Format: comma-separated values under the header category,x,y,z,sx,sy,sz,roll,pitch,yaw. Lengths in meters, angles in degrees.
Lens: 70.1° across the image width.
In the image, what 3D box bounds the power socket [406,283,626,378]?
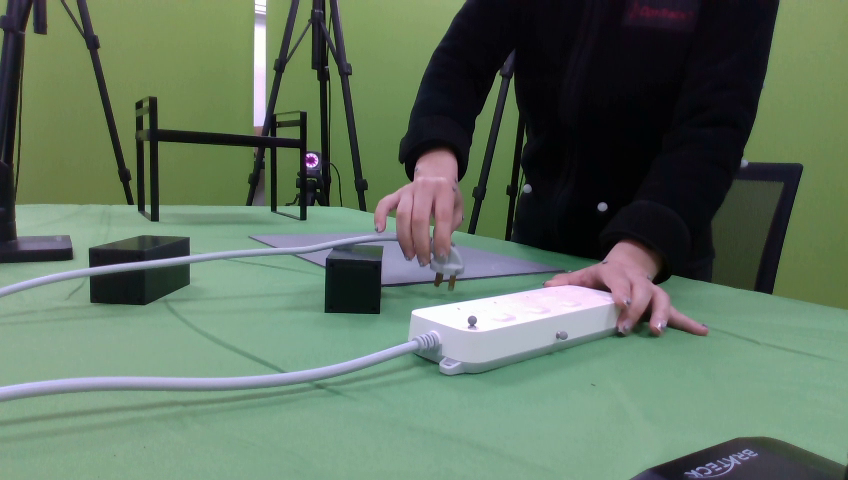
category,x,y,z,sx,sy,sz,roll,pitch,yaw
power socket,0.082,0.064,0.485,0.228,0.032,0.072,-6,10,-42

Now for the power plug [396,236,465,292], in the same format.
category,x,y,z,sx,sy,sz,roll,pitch,yaw
power plug,0.007,0.023,0.630,0.072,0.052,0.035,12,12,21
